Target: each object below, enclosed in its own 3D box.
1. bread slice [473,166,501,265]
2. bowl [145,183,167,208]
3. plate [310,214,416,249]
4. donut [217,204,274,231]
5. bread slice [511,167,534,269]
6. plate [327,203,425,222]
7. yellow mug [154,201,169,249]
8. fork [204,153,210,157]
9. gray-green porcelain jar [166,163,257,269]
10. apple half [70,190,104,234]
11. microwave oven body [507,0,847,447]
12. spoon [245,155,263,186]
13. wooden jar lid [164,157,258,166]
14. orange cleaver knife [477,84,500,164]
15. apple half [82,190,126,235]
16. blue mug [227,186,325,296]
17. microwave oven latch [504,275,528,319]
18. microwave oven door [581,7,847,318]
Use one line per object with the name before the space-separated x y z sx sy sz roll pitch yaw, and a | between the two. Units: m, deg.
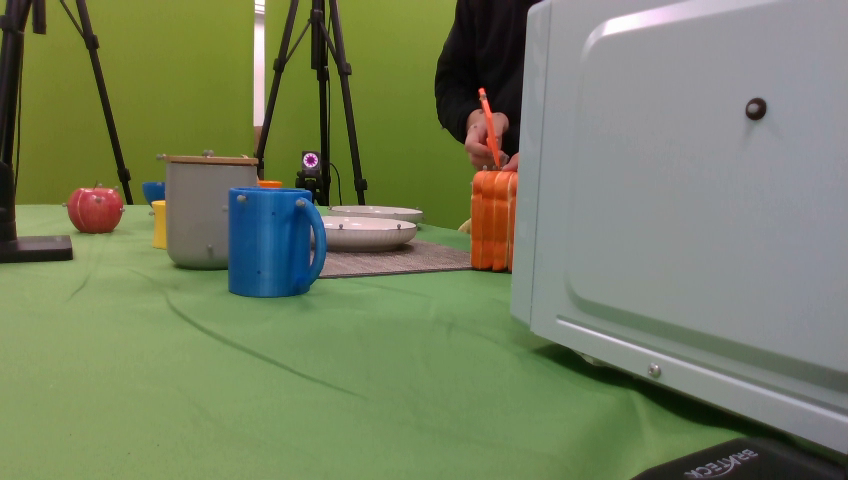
bread slice | 0.088 -0.036 0.841 0.019 0.131 0.105 -1 5 20
bowl | -0.459 -0.068 1.175 0.151 0.077 0.151 3 7 0
plate | -0.116 -0.014 0.967 0.208 0.039 0.207 2 7 0
donut | -0.318 -0.038 1.080 0.099 0.048 0.099 3 7 0
bread slice | 0.134 -0.032 0.823 0.018 0.134 0.107 0 9 18
plate | -0.102 -0.053 1.299 0.209 0.038 0.209 2 8 0
yellow mug | -0.338 -0.022 0.899 0.130 0.064 0.100 8 9 34
fork | -0.480 -0.134 1.411 0.028 0.018 0.207 1 -35 0
gray-green porcelain jar | -0.263 -0.031 0.754 0.106 0.126 0.106 2 7 0
apple half | -0.552 -0.047 1.009 0.053 0.074 0.081 -1 9 26
microwave oven body | 0.331 -0.042 0.425 0.444 0.260 0.324 -2 8 -31
spoon | -0.421 -0.150 1.540 0.042 0.021 0.193 -5 55 -37
wooden jar lid | -0.261 -0.093 0.746 0.108 0.020 0.108 0 9 0
orange cleaver knife | 0.099 -0.149 0.880 0.012 0.077 0.212 -17 -21 5
apple half | -0.516 -0.046 0.994 0.032 0.081 0.081 0 6 26
blue mug | -0.146 0.000 0.618 0.116 0.106 0.083 7 9 32
microwave oven latch | 0.100 0.042 0.470 0.079 0.029 0.030 -1 7 -28
microwave oven door | 0.295 -0.067 0.569 0.358 0.243 0.039 -3 8 -31
